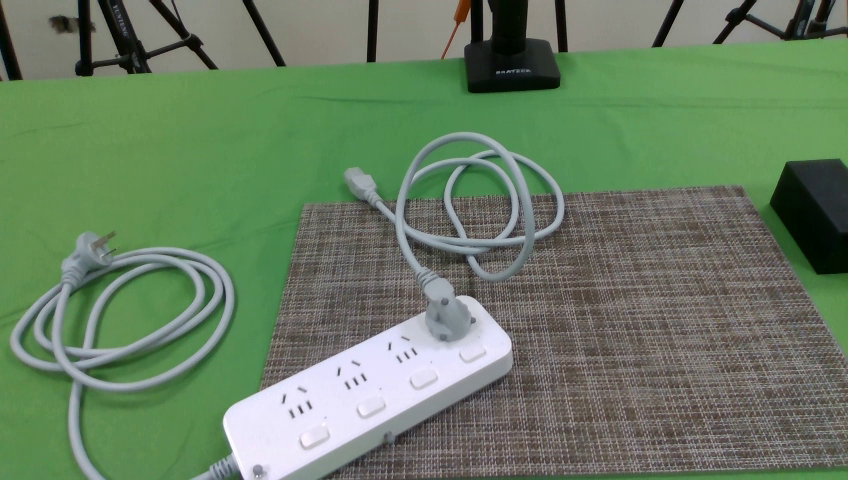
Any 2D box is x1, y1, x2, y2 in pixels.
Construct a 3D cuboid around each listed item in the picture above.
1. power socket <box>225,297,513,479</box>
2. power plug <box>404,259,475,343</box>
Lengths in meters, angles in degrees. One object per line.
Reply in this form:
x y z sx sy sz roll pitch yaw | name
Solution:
-0.035 0.110 0.444 0.227 0.033 0.071 -24 46 -19 | power socket
0.014 0.049 0.472 0.035 0.053 0.071 -16 45 -11 | power plug
